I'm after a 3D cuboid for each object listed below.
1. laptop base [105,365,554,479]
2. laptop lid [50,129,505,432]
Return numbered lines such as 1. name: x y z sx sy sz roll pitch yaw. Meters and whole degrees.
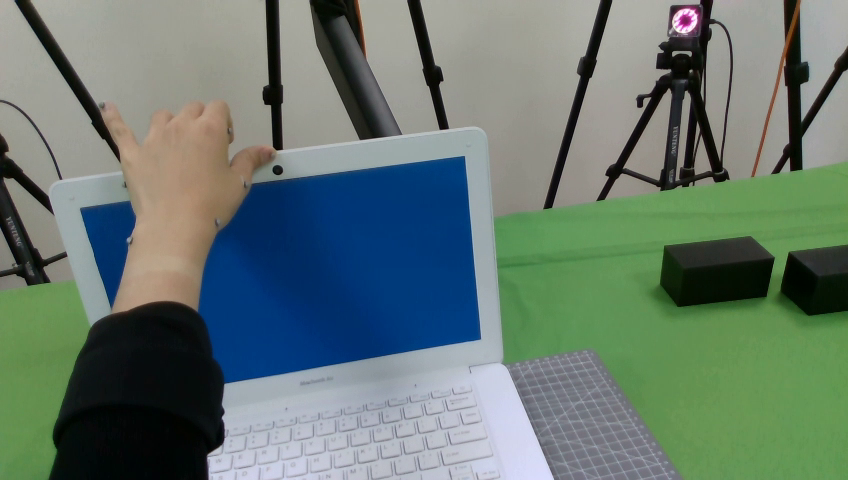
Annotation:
1. laptop base: -0.076 0.206 0.464 0.355 0.023 0.233 -9 31 -6
2. laptop lid: -0.108 0.041 0.527 0.357 0.243 0.013 -10 19 -6
